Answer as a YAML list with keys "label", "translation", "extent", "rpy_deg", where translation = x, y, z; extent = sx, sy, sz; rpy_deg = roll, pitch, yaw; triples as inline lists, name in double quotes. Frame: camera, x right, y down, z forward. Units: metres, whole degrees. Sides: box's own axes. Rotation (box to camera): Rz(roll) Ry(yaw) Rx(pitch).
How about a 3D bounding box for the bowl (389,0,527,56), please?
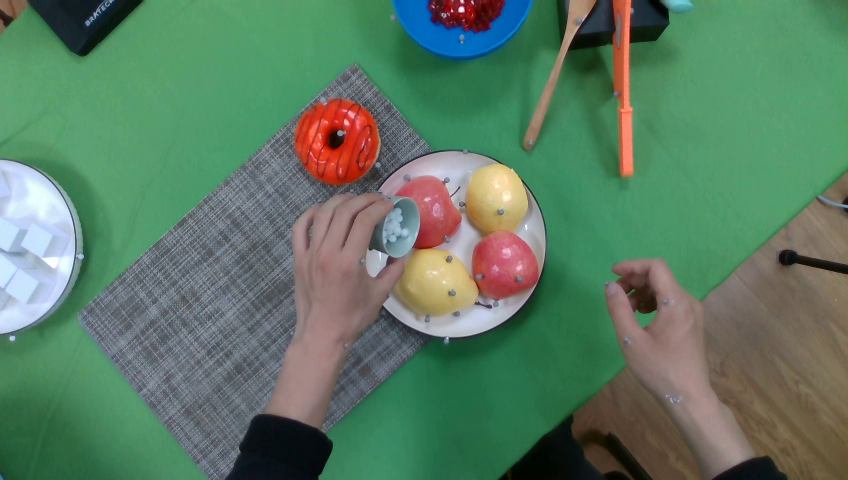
- label: "bowl"
  translation: [0.039, -0.267, 0.664]
  extent: [0.151, 0.077, 0.151]
  rpy_deg: [0, 89, 4]

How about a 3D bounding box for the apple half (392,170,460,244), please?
- label: "apple half"
  translation: [-0.004, -0.036, 0.662]
  extent: [0.074, 0.053, 0.081]
  rpy_deg: [-24, 91, 4]

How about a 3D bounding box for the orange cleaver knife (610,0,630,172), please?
- label: "orange cleaver knife"
  translation: [0.208, -0.180, 0.647]
  extent: [0.012, 0.076, 0.213]
  rpy_deg: [-5, 114, 9]

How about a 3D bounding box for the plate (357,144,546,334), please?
- label: "plate"
  translation: [0.030, -0.001, 0.676]
  extent: [0.209, 0.038, 0.209]
  rpy_deg: [0, 89, 4]

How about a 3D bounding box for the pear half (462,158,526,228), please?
- label: "pear half"
  translation: [0.073, -0.044, 0.660]
  extent: [0.070, 0.031, 0.088]
  rpy_deg: [-7, 102, 28]

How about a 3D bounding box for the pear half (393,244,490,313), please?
- label: "pear half"
  translation: [0.023, 0.048, 0.662]
  extent: [0.110, 0.056, 0.076]
  rpy_deg: [21, 95, 0]

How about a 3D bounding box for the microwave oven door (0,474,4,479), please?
- label: "microwave oven door"
  translation: [-0.435, 0.388, 0.589]
  extent: [0.039, 0.244, 0.355]
  rpy_deg: [-39, 86, 2]

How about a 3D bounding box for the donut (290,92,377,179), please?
- label: "donut"
  translation: [-0.102, -0.118, 0.685]
  extent: [0.099, 0.048, 0.099]
  rpy_deg: [0, 91, 6]

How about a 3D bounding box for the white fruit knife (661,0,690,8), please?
- label: "white fruit knife"
  translation: [0.200, -0.318, 0.634]
  extent: [0.027, 0.016, 0.207]
  rpy_deg: [-38, 84, -26]

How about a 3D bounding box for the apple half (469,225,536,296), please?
- label: "apple half"
  translation: [0.078, 0.024, 0.654]
  extent: [0.081, 0.033, 0.081]
  rpy_deg: [6, 104, 25]

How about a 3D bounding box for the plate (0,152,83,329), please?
- label: "plate"
  translation: [-0.501, 0.001, 0.721]
  extent: [0.207, 0.039, 0.207]
  rpy_deg: [0, 89, 5]

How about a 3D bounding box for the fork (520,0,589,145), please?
- label: "fork"
  translation: [0.142, -0.200, 0.650]
  extent: [0.028, 0.018, 0.208]
  rpy_deg: [17, 111, -3]

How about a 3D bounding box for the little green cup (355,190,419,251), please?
- label: "little green cup"
  translation: [-0.037, -0.021, 0.598]
  extent: [0.038, 0.062, 0.061]
  rpy_deg: [9, 89, 34]
